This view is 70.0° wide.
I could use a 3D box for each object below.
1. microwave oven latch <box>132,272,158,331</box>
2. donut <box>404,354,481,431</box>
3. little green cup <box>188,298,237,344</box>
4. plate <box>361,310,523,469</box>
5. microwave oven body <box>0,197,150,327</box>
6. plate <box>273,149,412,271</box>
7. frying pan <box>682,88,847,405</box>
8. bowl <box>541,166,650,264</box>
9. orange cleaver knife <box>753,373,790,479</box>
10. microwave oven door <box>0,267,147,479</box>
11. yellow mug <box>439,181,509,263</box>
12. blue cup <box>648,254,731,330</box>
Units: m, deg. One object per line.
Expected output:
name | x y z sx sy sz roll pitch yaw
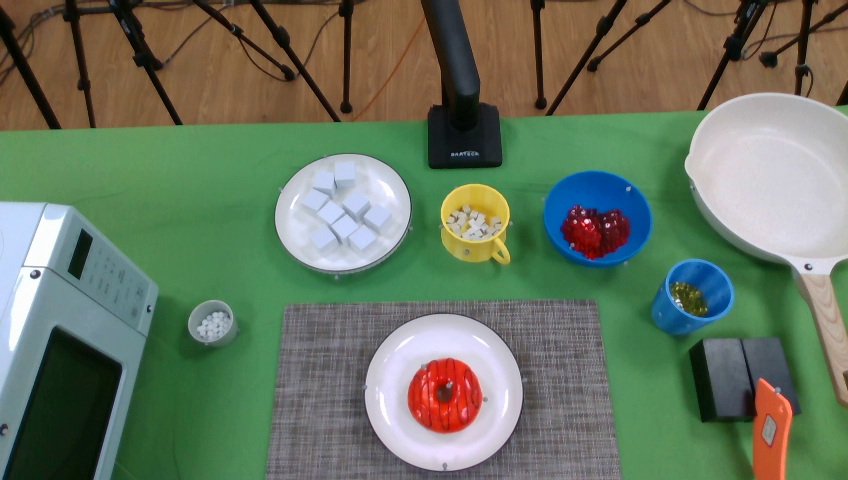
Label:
microwave oven latch | -0.397 0.086 0.848 0.030 0.030 0.078 4 65 3
donut | 0.024 0.198 0.784 0.099 0.048 0.098 -1 67 3
little green cup | -0.293 0.116 0.849 0.061 0.039 0.061 -1 65 2
plate | 0.023 0.195 0.798 0.209 0.038 0.207 -1 64 2
microwave oven body | -0.557 0.197 0.691 0.326 0.262 0.438 2 65 2
plate | -0.122 -0.044 0.924 0.207 0.039 0.206 -1 64 2
frying pan | 0.523 -0.008 0.849 0.306 0.103 0.483 3 56 5
bowl | 0.241 -0.023 0.880 0.151 0.077 0.150 -1 64 2
orange cleaver knife | 0.416 0.270 0.729 0.012 0.077 0.211 -2 93 1
microwave oven door | -0.414 0.237 0.661 0.039 0.246 0.353 1 64 3
yellow mug | 0.082 -0.018 0.889 0.100 0.064 0.130 -35 69 -14
blue cup | 0.347 0.078 0.813 0.092 0.101 0.092 0 65 0
